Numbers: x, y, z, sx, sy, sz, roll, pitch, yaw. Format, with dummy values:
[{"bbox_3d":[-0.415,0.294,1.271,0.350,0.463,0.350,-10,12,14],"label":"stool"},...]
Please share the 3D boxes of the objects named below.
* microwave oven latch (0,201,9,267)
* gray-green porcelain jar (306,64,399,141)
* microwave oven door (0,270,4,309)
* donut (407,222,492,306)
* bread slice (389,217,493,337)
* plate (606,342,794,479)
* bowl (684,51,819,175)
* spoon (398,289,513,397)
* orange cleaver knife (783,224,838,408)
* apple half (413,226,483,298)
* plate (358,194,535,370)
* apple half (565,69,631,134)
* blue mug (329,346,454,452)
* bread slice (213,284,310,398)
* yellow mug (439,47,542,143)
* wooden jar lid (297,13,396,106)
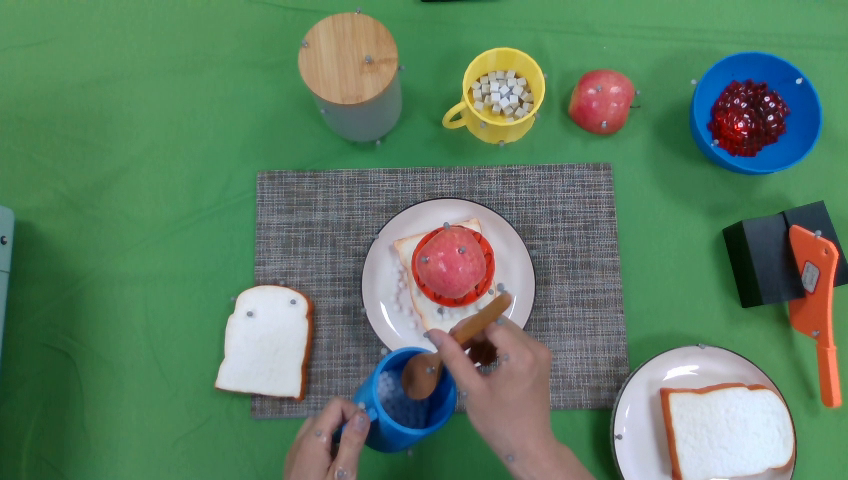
[{"bbox_3d":[-0.518,-0.009,0.722,0.030,0.029,0.079,2,80,1],"label":"microwave oven latch"},{"bbox_3d":[-0.083,-0.183,0.726,0.106,0.127,0.105,0,79,1],"label":"gray-green porcelain jar"},{"bbox_3d":[-0.518,0.188,0.583,0.039,0.244,0.354,-2,79,0],"label":"microwave oven door"},{"bbox_3d":[0.030,0.028,0.699,0.099,0.048,0.098,0,80,1],"label":"donut"},{"bbox_3d":[0.030,0.047,0.724,0.107,0.018,0.134,-19,81,-3],"label":"bread slice"},{"bbox_3d":[0.310,0.222,0.694,0.209,0.038,0.208,0,80,1],"label":"plate"},{"bbox_3d":[0.383,-0.143,0.740,0.151,0.077,0.151,0,80,1],"label":"bowl"},{"bbox_3d":[0.022,0.092,0.524,0.022,0.194,0.041,-9,64,-31],"label":"spoon"},{"bbox_3d":[0.443,0.087,0.696,0.012,0.077,0.212,-13,101,-8],"label":"orange cleaver knife"},{"bbox_3d":[0.027,0.023,0.664,0.081,0.033,0.081,-1,81,7],"label":"apple half"},{"bbox_3d":[0.026,0.049,0.724,0.208,0.039,0.207,0,80,1],"label":"plate"},{"bbox_3d":[0.221,-0.180,0.761,0.074,0.053,0.080,21,81,7],"label":"apple half"},{"bbox_3d":[-0.040,0.165,0.594,0.117,0.106,0.082,-22,73,-28],"label":"blue mug"},{"bbox_3d":[-0.191,0.117,0.723,0.105,0.019,0.131,6,81,1],"label":"bread slice"},{"bbox_3d":[0.078,-0.172,0.753,0.131,0.064,0.099,-25,80,-3],"label":"yellow mug"},{"bbox_3d":[-0.084,-0.196,0.665,0.108,0.021,0.108,0,78,1],"label":"wooden jar lid"}]
